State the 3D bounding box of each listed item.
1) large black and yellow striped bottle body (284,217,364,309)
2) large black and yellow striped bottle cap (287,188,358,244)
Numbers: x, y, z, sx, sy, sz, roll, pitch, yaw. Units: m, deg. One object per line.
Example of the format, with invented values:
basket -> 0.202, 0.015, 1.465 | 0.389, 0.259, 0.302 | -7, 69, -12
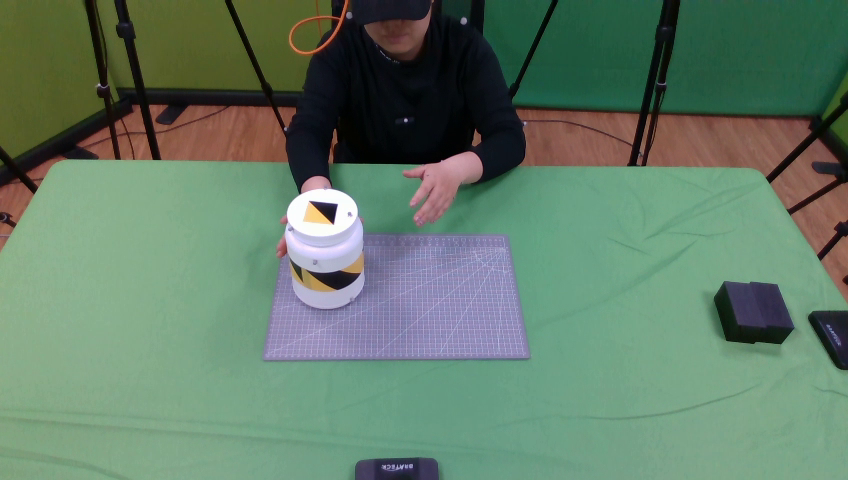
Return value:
large black and yellow striped bottle body -> -0.171, 0.017, 1.052 | 0.131, 0.185, 0.130 | 2, 46, -2
large black and yellow striped bottle cap -> -0.166, -0.041, 0.991 | 0.115, 0.019, 0.114 | 2, 46, -2
